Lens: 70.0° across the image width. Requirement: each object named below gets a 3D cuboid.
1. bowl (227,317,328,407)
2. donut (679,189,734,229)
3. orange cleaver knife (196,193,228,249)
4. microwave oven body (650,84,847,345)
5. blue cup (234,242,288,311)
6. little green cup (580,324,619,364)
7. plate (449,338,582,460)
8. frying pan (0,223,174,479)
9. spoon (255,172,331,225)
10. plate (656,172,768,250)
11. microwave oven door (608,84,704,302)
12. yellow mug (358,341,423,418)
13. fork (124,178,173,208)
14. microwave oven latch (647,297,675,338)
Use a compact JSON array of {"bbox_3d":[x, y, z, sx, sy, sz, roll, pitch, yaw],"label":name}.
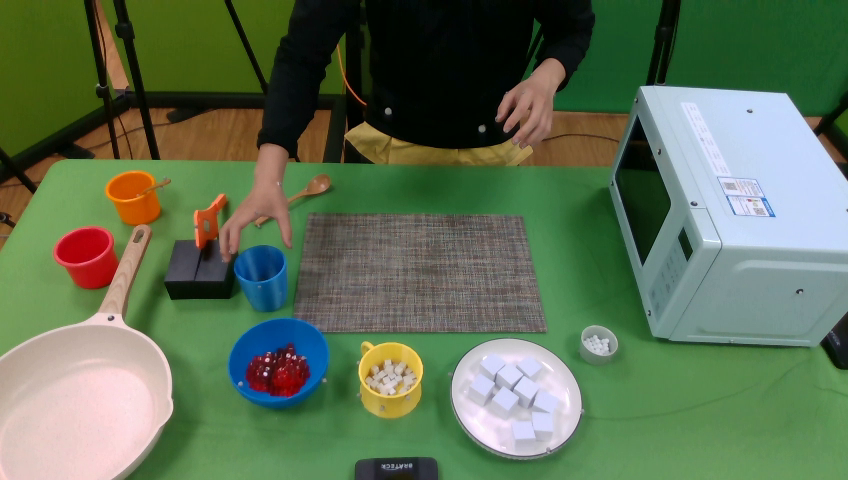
[{"bbox_3d":[-0.222,0.203,0.947,0.151,0.077,0.150,2,46,-2],"label":"bowl"},{"bbox_3d":[0.545,-0.062,1.175,0.099,0.048,0.098,0,45,0],"label":"donut"},{"bbox_3d":[-0.406,-0.041,1.163,0.012,0.077,0.210,0,18,-3],"label":"orange cleaver knife"},{"bbox_3d":[0.569,-0.054,1.116,0.326,0.261,0.439,2,46,-1],"label":"microwave oven body"},{"bbox_3d":[-0.276,0.071,1.052,0.093,0.101,0.092,1,48,-1],"label":"blue cup"},{"bbox_3d":[0.296,0.179,1.031,0.061,0.039,0.061,2,45,-2],"label":"little green cup"},{"bbox_3d":[0.141,0.251,0.955,0.208,0.039,0.206,2,46,-2],"label":"plate"},{"bbox_3d":[-0.504,0.169,0.941,0.307,0.103,0.485,5,54,-1],"label":"frying pan"},{"bbox_3d":[-0.272,-0.087,1.257,0.041,0.022,0.193,43,57,16],"label":"spoon"},{"bbox_3d":[0.557,-0.053,1.186,0.209,0.038,0.208,2,45,-2],"label":"plate"},{"bbox_3d":[0.424,-0.096,1.138,0.039,0.245,0.353,2,46,-1],"label":"microwave oven door"},{"bbox_3d":[-0.062,0.210,0.961,0.100,0.064,0.130,-29,54,-27],"label":"yellow mug"},{"bbox_3d":[-0.525,-0.090,1.153,0.207,0.019,0.028,-17,26,45],"label":"fork"},{"bbox_3d":[0.413,0.133,1.060,0.030,0.029,0.078,5,46,2],"label":"microwave oven latch"}]
